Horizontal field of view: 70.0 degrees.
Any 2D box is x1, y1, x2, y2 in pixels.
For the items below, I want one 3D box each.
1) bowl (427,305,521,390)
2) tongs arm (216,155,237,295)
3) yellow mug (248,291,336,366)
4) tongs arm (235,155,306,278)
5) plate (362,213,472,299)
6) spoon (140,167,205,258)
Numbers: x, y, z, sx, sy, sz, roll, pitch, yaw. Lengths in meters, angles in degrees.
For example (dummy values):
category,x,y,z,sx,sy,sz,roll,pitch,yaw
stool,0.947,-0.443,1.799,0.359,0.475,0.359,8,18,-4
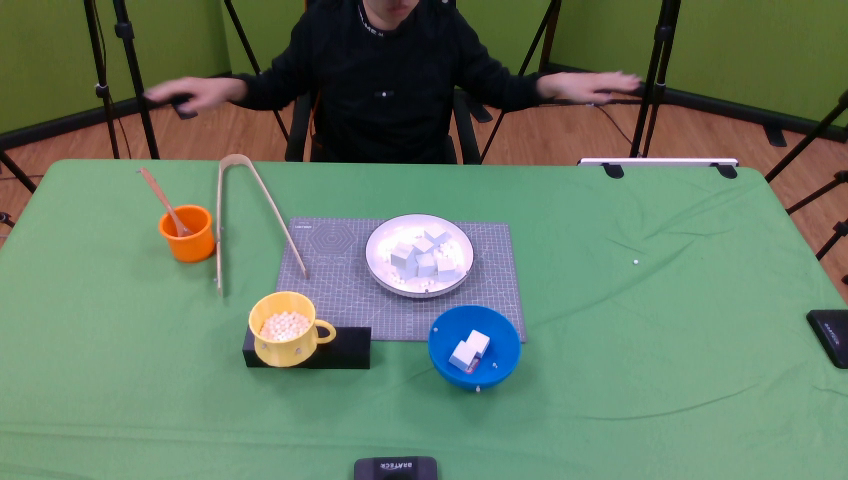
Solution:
category,x,y,z,sx,sy,sz,roll,pitch,yaw
bowl,0.076,0.188,0.985,0.151,0.077,0.150,3,46,-3
tongs arm,-0.388,-0.043,1.201,0.051,0.026,0.382,-9,46,-12
yellow mug,-0.203,0.139,0.948,0.131,0.064,0.099,5,46,0
tongs arm,-0.312,-0.059,1.224,0.028,0.028,0.385,-22,50,-18
plate,-0.014,0.034,1.149,0.208,0.039,0.206,3,46,-2
spoon,-0.467,-0.051,1.122,0.041,0.194,0.021,-34,13,-28
